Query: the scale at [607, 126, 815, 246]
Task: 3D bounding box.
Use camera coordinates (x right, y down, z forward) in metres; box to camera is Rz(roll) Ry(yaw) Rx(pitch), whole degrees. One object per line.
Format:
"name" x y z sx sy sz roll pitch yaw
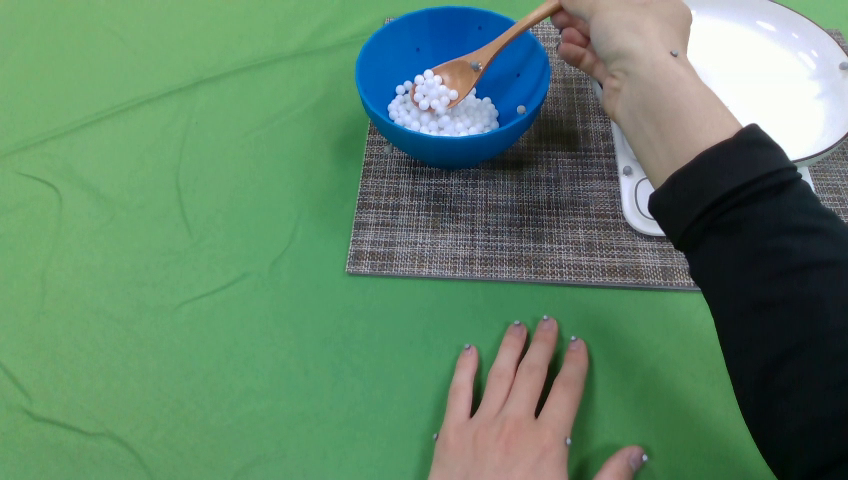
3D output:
"scale" 0.229 -0.086 0.505 0.148 0.032 0.199 2 57 3

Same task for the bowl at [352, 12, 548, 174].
"bowl" 0.020 -0.107 0.495 0.151 0.077 0.150 0 56 1

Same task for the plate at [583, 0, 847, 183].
"plate" 0.231 -0.123 0.491 0.209 0.038 0.207 0 56 0

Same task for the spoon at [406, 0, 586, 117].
"spoon" 0.070 -0.151 0.457 0.193 0.022 0.041 -31 63 19
